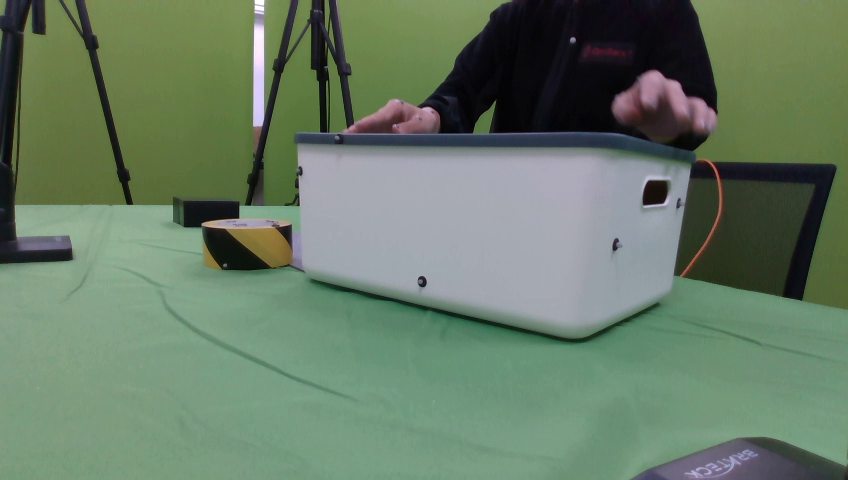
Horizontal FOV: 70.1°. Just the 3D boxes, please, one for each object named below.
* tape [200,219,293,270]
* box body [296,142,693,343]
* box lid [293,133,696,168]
[{"bbox_3d":[-0.228,0.004,0.778,0.117,0.052,0.117,1,8,0],"label":"tape"},{"bbox_3d":[0.065,-0.020,0.653,0.362,0.160,0.255,9,9,36],"label":"box body"},{"bbox_3d":[0.068,-0.094,0.645,0.369,0.015,0.265,9,8,37],"label":"box lid"}]
